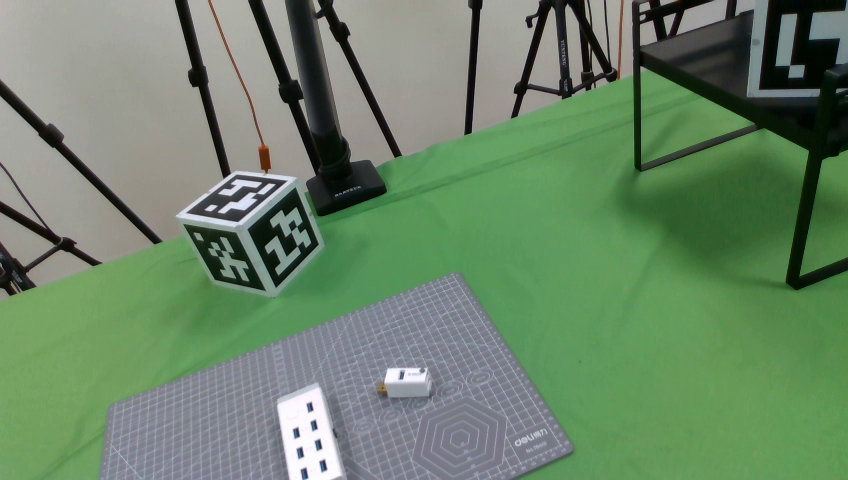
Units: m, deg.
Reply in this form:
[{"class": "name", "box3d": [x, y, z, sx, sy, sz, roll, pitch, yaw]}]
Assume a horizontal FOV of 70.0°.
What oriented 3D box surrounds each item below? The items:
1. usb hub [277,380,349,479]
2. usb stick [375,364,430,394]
[{"class": "usb hub", "box3d": [-0.113, 0.196, 0.600, 0.049, 0.025, 0.123, -22, 36, -8]}, {"class": "usb stick", "box3d": [-0.025, 0.146, 0.635, 0.059, 0.027, 0.021, -7, 37, 15]}]
